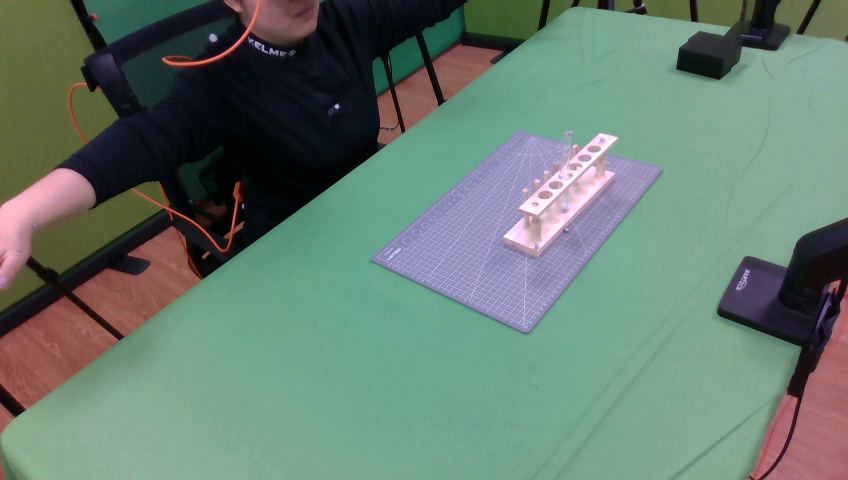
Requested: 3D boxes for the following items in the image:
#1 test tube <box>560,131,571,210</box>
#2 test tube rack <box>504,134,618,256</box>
[{"bbox_3d":[0.218,-0.103,0.933,0.017,0.151,0.017,-6,45,7],"label":"test tube"},{"bbox_3d":[0.225,-0.083,0.985,0.066,0.085,0.243,25,50,34],"label":"test tube rack"}]
